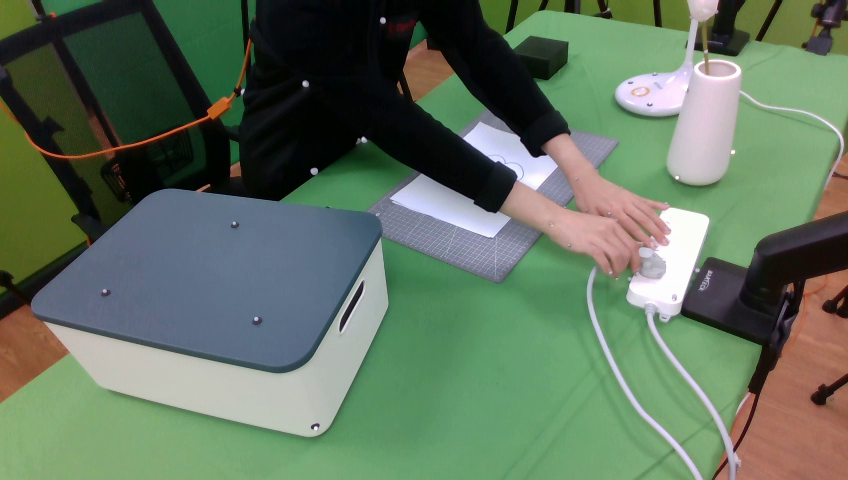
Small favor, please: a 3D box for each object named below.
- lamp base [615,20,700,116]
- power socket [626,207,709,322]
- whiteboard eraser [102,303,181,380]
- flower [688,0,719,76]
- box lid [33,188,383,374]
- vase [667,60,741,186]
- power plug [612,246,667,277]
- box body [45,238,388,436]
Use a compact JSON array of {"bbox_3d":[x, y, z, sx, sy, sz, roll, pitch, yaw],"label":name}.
[{"bbox_3d":[0.484,-0.364,1.211,0.180,0.181,0.159,-15,41,-14],"label":"lamp base"},{"bbox_3d":[0.360,0.026,0.886,0.072,0.033,0.227,17,46,26],"label":"power socket"},{"bbox_3d":[-0.384,0.139,0.827,0.055,0.042,0.112,8,41,6],"label":"whiteboard eraser"},{"bbox_3d":[0.436,-0.242,0.934,0.038,0.364,0.043,-23,49,9],"label":"flower"},{"bbox_3d":[-0.257,0.032,0.751,0.370,0.015,0.263,8,42,16],"label":"box lid"},{"bbox_3d":[0.463,-0.189,0.994,0.098,0.201,0.097,-4,40,4],"label":"vase"},{"bbox_3d":[0.306,0.030,0.852,0.072,0.053,0.035,24,51,37],"label":"power plug"},{"bbox_3d":[-0.251,0.088,0.800,0.362,0.161,0.254,7,42,16],"label":"box body"}]
